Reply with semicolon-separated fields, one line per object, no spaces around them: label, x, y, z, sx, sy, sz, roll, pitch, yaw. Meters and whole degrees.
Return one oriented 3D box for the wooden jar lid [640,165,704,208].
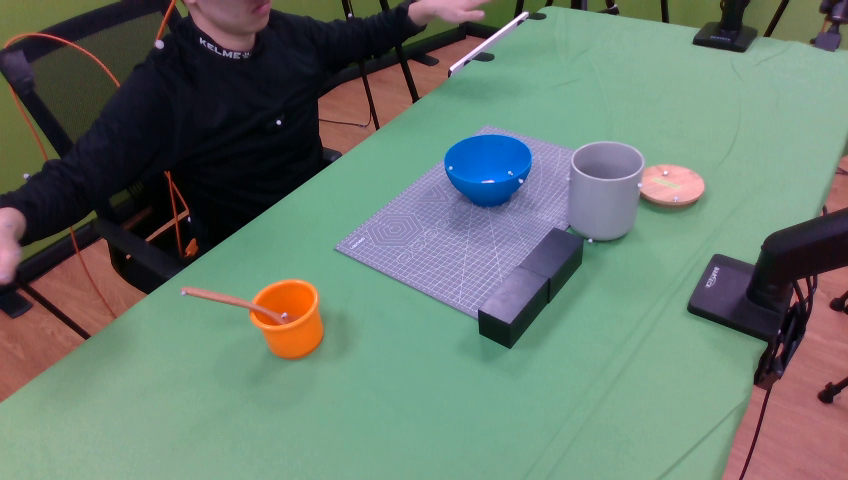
wooden jar lid;0.410;-0.088;1.015;0.108;0.021;0.108;-5;41;5

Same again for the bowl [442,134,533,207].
bowl;0.110;-0.109;1.033;0.151;0.077;0.150;-4;40;4

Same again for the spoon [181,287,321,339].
spoon;-0.223;0.093;0.796;0.021;0.195;0.041;-47;35;23

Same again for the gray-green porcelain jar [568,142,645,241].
gray-green porcelain jar;0.276;-0.070;0.931;0.106;0.127;0.105;-4;41;4
